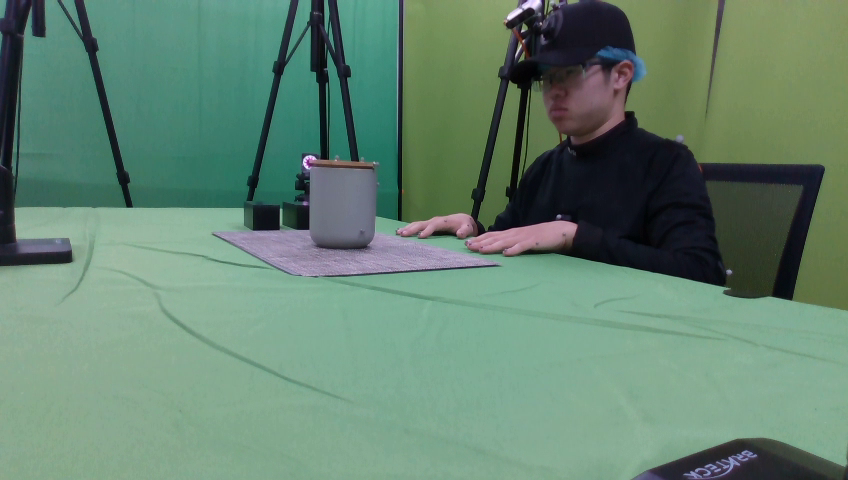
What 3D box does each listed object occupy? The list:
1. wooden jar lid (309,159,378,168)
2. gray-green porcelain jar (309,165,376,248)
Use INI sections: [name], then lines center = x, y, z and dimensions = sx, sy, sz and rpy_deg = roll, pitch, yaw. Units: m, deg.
[wooden jar lid]
center = -0.128, -0.117, 0.957
dimensions = 0.108, 0.020, 0.108
rpy_deg = 4, 7, 0
[gray-green porcelain jar]
center = -0.130, -0.054, 0.965
dimensions = 0.106, 0.126, 0.106
rpy_deg = 2, 7, 0
